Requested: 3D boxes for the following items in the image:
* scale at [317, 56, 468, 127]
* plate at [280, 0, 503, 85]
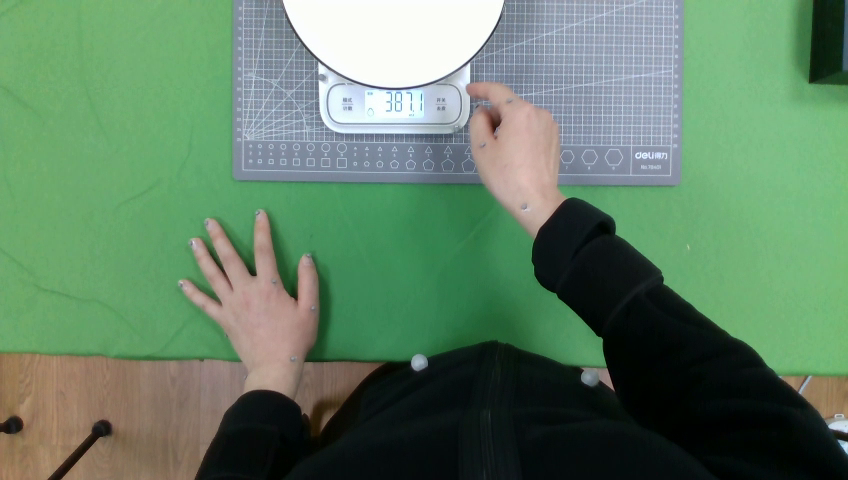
[{"bbox_3d":[-0.031,-0.212,0.591,0.149,0.031,0.201,0,92,-1],"label":"scale"},{"bbox_3d":[-0.029,-0.243,0.557,0.209,0.038,0.209,0,91,-2],"label":"plate"}]
